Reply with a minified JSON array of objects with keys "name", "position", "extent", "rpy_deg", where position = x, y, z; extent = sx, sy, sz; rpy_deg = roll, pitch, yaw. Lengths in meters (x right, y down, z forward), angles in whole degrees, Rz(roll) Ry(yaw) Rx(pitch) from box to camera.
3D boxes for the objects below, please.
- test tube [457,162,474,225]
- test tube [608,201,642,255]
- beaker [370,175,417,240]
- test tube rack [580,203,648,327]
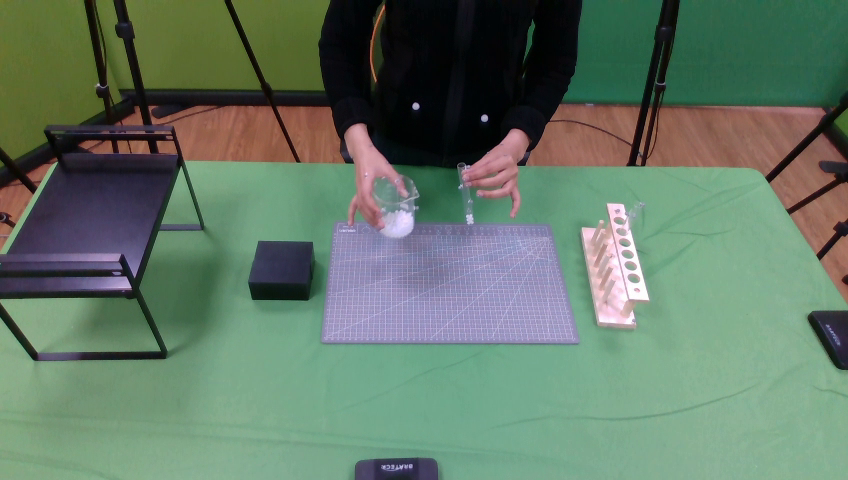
[{"name":"test tube","position":[0.077,-0.082,1.107],"extent":[0.017,0.151,0.017],"rpy_deg":[-6,47,7]},{"name":"test tube","position":[0.373,-0.019,1.133],"extent":[0.017,0.151,0.017],"rpy_deg":[3,53,-4]},{"name":"beaker","position":[-0.052,-0.056,1.084],"extent":[0.084,0.101,0.073],"rpy_deg":[11,51,9]},{"name":"test tube rack","position":[0.352,0.041,1.142],"extent":[0.067,0.085,0.241],"rpy_deg":[4,46,0]}]
